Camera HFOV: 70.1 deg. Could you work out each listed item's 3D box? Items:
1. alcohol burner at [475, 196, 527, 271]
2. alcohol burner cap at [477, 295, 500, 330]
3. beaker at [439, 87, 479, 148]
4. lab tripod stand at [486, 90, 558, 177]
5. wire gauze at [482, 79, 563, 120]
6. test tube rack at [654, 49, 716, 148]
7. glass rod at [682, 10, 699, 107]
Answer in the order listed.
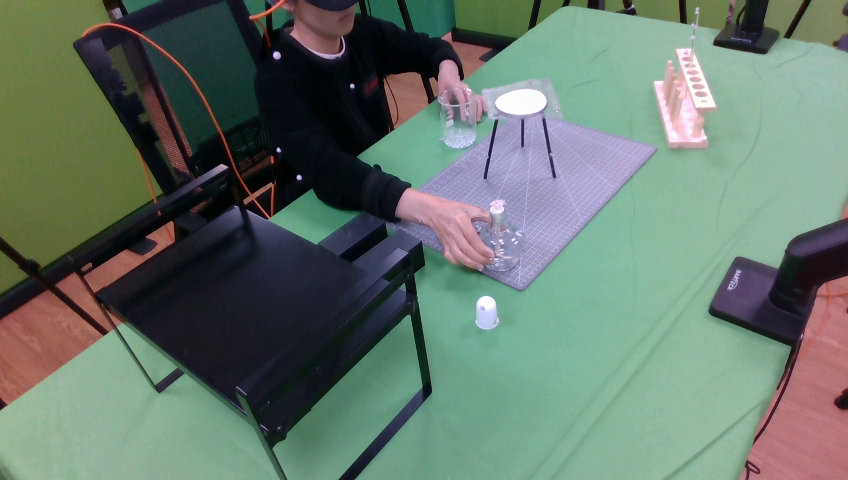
[{"bbox_3d":[0.113,-0.014,0.897,0.078,0.119,0.077,-7,39,6],"label":"alcohol burner"},{"bbox_3d":[0.089,0.097,0.833,0.034,0.048,0.033,-4,42,4],"label":"alcohol burner cap"},{"bbox_3d":[0.072,-0.239,1.184,0.073,0.101,0.084,29,52,35],"label":"beaker"},{"bbox_3d":[0.173,-0.185,1.075,0.148,0.132,0.147,-5,43,5],"label":"lab tripod stand"},{"bbox_3d":[0.166,-0.239,1.035,0.125,0.011,0.121,-5,42,3],"label":"wire gauze"},{"bbox_3d":[0.502,-0.281,1.176,0.066,0.085,0.241,2,41,11],"label":"test tube rack"},{"bbox_3d":[0.501,-0.335,1.138,0.008,0.201,0.008,-7,45,7],"label":"glass rod"}]
